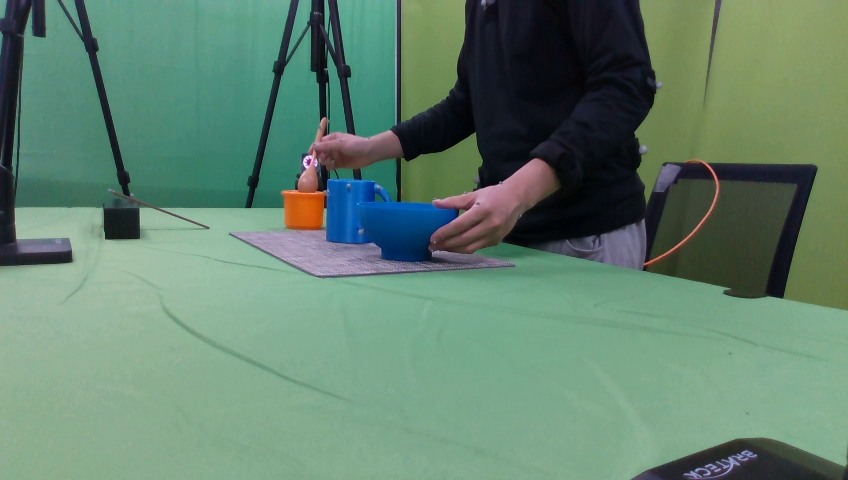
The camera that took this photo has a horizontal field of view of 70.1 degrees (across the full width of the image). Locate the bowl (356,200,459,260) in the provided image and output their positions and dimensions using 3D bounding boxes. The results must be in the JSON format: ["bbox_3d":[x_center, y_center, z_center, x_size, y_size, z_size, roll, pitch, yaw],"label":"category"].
[{"bbox_3d":[-0.025,-0.015,0.877,0.151,0.077,0.151,2,7,0],"label":"bowl"}]

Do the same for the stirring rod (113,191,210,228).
[{"bbox_3d":[-0.484,-0.055,1.121,0.177,0.006,0.014,22,-6,-22],"label":"stirring rod"}]

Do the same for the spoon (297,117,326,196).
[{"bbox_3d":[-0.230,-0.177,1.258,0.042,0.193,0.021,20,-31,-23],"label":"spoon"}]

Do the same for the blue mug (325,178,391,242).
[{"bbox_3d":[-0.111,-0.052,1.034,0.116,0.106,0.082,3,7,7],"label":"blue mug"}]
